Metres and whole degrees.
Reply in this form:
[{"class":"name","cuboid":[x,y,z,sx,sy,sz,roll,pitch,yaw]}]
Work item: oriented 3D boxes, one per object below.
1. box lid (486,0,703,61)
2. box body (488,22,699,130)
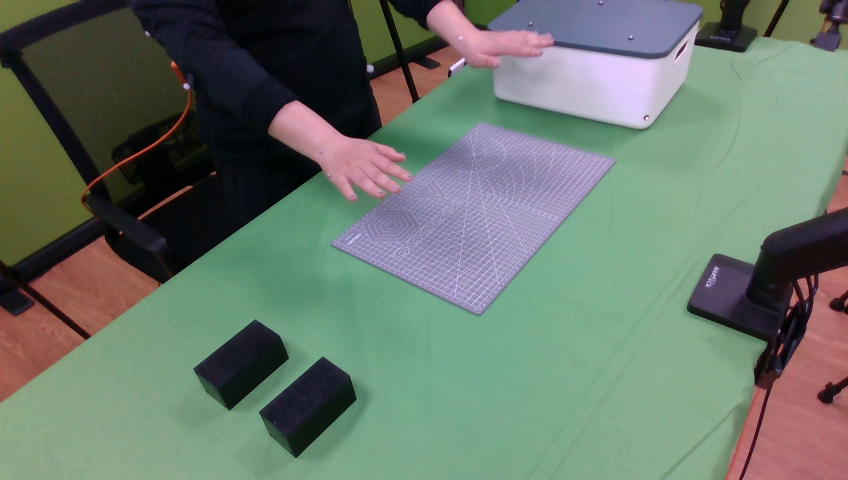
[{"class":"box lid","cuboid":[0.338,-0.435,1.208,0.369,0.015,0.264,20,47,29]},{"class":"box body","cuboid":[0.345,-0.379,1.257,0.361,0.161,0.255,20,48,29]}]
